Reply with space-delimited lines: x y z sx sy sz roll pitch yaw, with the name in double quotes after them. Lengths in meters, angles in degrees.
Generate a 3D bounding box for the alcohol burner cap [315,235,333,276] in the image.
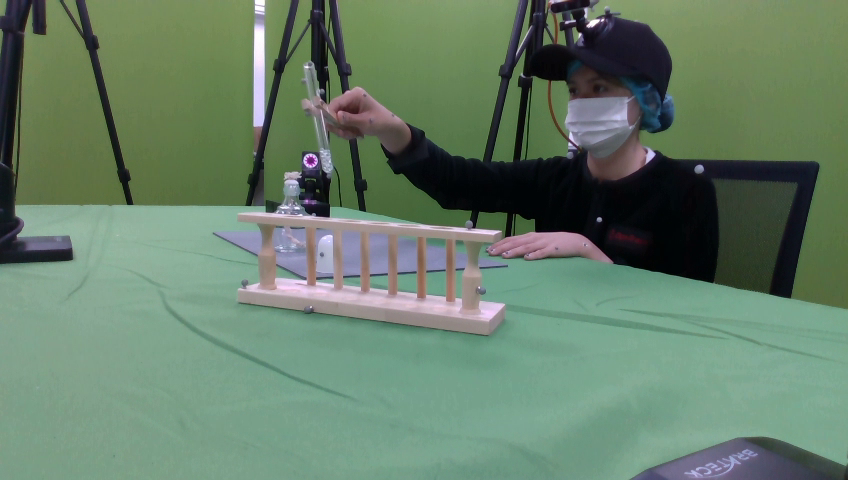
-0.116 0.018 0.728 0.034 0.048 0.034 3 6 0 "alcohol burner cap"

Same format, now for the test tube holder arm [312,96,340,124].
-0.132 -0.175 0.822 0.010 0.015 0.088 -12 -7 8 "test tube holder arm"

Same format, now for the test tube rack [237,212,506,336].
-0.049 0.024 0.552 0.242 0.085 0.067 5 8 18 "test tube rack"

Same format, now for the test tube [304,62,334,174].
-0.139 -0.161 0.798 0.017 0.150 0.017 -11 -4 -1 "test tube"

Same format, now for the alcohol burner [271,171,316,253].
-0.196 -0.041 0.884 0.078 0.119 0.078 3 5 0 "alcohol burner"

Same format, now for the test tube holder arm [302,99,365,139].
-0.126 -0.170 0.867 0.013 0.015 0.179 -12 -7 16 "test tube holder arm"
